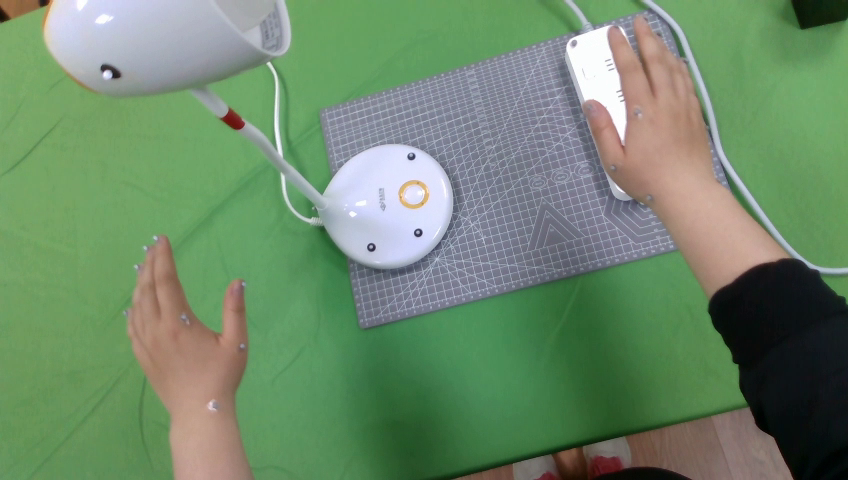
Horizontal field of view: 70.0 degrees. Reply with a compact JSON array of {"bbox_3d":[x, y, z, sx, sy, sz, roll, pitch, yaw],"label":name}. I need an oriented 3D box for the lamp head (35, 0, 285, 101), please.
[{"bbox_3d":[-0.159,-0.132,0.358,0.123,0.113,0.111,-25,72,21],"label":"lamp head"}]

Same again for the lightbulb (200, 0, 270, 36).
[{"bbox_3d":[-0.138,-0.138,0.344,0.107,0.060,0.059,-15,74,15],"label":"lightbulb"}]

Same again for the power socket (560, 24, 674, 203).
[{"bbox_3d":[0.223,-0.152,0.709,0.072,0.033,0.225,-17,74,6],"label":"power socket"}]

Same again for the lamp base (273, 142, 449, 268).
[{"bbox_3d":[-0.075,-0.057,0.668,0.179,0.181,0.159,-21,73,8],"label":"lamp base"}]
